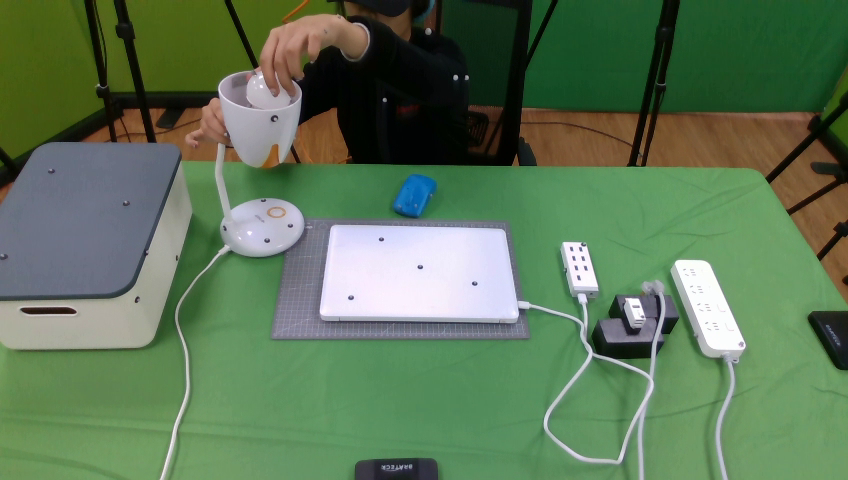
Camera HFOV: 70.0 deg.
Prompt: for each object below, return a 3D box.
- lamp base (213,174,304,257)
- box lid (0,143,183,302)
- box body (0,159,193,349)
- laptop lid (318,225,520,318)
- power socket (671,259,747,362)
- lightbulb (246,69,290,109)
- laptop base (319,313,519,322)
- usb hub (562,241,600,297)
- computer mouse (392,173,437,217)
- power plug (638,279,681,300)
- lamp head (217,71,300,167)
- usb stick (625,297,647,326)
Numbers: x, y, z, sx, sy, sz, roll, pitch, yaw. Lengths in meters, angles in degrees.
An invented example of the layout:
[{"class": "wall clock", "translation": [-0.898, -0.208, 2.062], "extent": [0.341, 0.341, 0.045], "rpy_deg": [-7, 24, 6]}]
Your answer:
[{"class": "lamp base", "translation": [-0.324, -0.074, 1.135], "extent": [0.160, 0.181, 0.179], "rpy_deg": [28, 53, 24]}, {"class": "box lid", "translation": [-0.567, -0.045, 0.999], "extent": [0.263, 0.015, 0.369], "rpy_deg": [-1, 46, -4]}, {"class": "box body", "translation": [-0.570, 0.006, 1.054], "extent": [0.254, 0.161, 0.361], "rpy_deg": [-1, 46, -4]}, {"class": "laptop lid", "translation": [-0.009, 0.052, 1.131], "extent": [0.357, 0.013, 0.240], "rpy_deg": [2, 43, -2]}, {"class": "power socket", "translation": [0.516, 0.119, 1.108], "extent": [0.072, 0.033, 0.225], "rpy_deg": [1, 46, -2]}, {"class": "lightbulb", "translation": [-0.224, -0.188, 0.857], "extent": [0.059, 0.108, 0.059], "rpy_deg": [13, 38, -10]}, {"class": "laptop base", "translation": [-0.009, 0.062, 1.138], "extent": [0.354, 0.023, 0.234], "rpy_deg": [1, 42, -3]}, {"class": "usb hub", "translation": [0.300, 0.054, 1.162], "extent": [0.049, 0.025, 0.124], "rpy_deg": [2, 46, -3]}, {"class": "computer mouse", "translation": [-0.018, -0.098, 1.282], "extent": [0.062, 0.041, 0.117], "rpy_deg": [20, 51, 13]}, {"class": "power plug", "translation": [0.434, 0.099, 1.119], "extent": [0.073, 0.053, 0.035], "rpy_deg": [34, 38, -16]}, {"class": "lamp head", "translation": [-0.239, -0.169, 0.876], "extent": [0.112, 0.123, 0.111], "rpy_deg": [9, 45, -9]}, {"class": "usb stick", "translation": [0.360, 0.116, 1.034], "extent": [0.021, 0.027, 0.059], "rpy_deg": [-2, 44, -2]}]
